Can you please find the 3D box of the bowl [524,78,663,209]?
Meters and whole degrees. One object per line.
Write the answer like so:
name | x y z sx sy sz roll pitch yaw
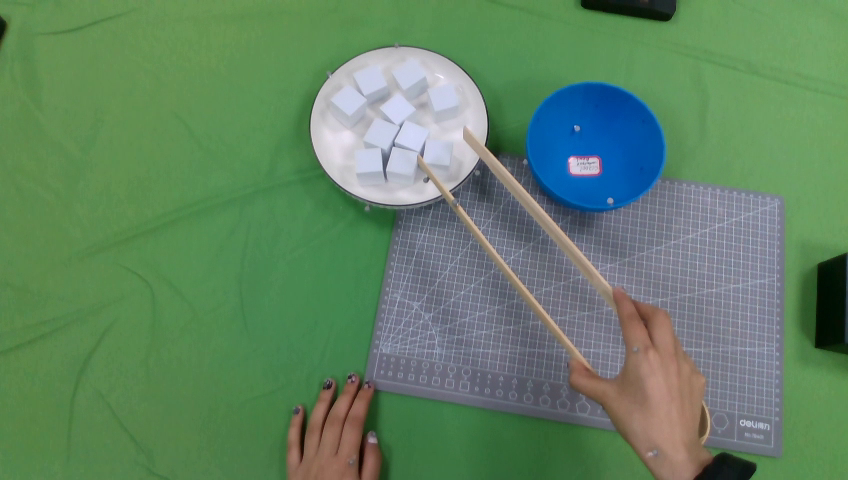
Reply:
bowl | 0.181 -0.097 0.685 0.151 0.077 0.150 1 74 -2

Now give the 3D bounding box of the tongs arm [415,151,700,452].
tongs arm | 0.115 0.044 0.591 0.051 0.027 0.382 -31 69 -11

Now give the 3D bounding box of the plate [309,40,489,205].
plate | -0.028 -0.135 0.712 0.208 0.039 0.206 0 74 0

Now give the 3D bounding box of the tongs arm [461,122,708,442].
tongs arm | 0.145 0.024 0.598 0.028 0.028 0.384 -30 69 -14
